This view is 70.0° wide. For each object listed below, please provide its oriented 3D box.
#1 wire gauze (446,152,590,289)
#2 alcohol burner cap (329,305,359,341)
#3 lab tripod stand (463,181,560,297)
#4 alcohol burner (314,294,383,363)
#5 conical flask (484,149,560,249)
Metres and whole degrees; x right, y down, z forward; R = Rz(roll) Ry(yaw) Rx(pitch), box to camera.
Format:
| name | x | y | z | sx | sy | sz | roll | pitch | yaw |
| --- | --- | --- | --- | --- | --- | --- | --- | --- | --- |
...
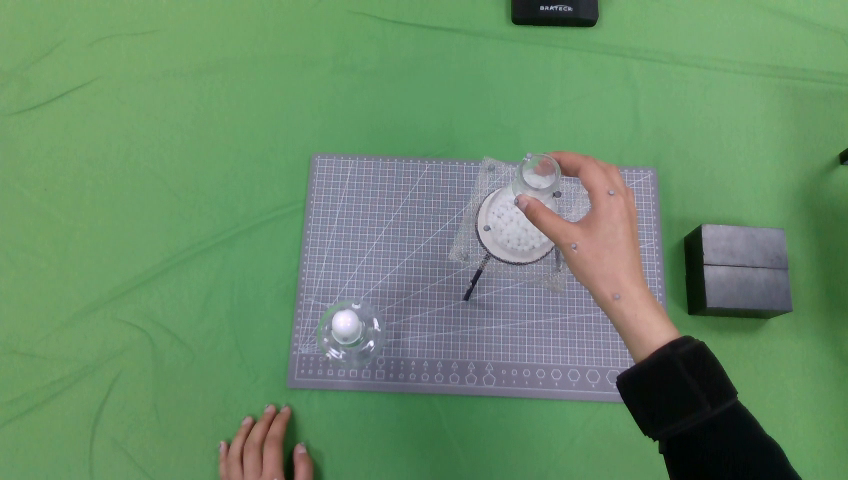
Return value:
| name | x | y | z | sx | sy | sz | roll | pitch | yaw |
| --- | --- | --- | --- | --- | --- | --- | --- | --- | --- |
| wire gauze | 0.100 | -0.022 | 0.626 | 0.121 | 0.011 | 0.124 | 19 | 72 | 4 |
| alcohol burner cap | -0.085 | 0.085 | 0.633 | 0.034 | 0.048 | 0.033 | 2 | 69 | -5 |
| lab tripod stand | 0.093 | -0.004 | 0.690 | 0.148 | 0.132 | 0.147 | 0 | 73 | 1 |
| alcohol burner | -0.085 | 0.095 | 0.667 | 0.078 | 0.119 | 0.077 | 0 | 75 | 0 |
| conical flask | 0.098 | -0.042 | 0.571 | 0.075 | 0.122 | 0.075 | 0 | 72 | 0 |
